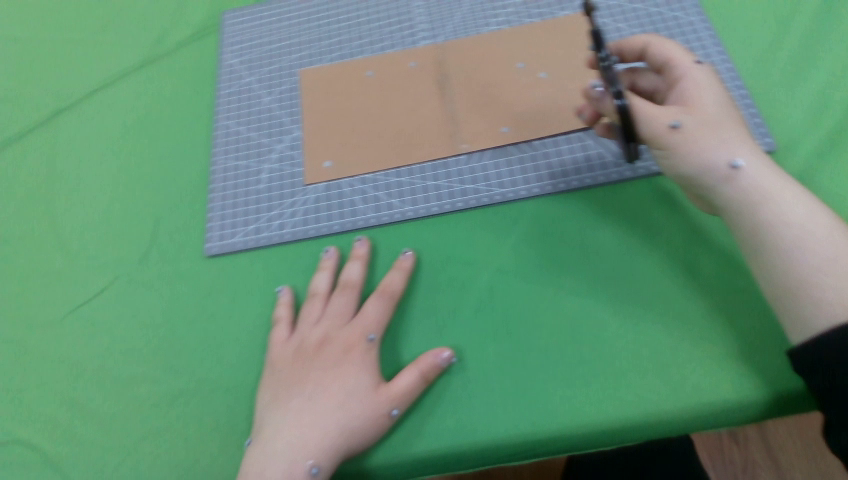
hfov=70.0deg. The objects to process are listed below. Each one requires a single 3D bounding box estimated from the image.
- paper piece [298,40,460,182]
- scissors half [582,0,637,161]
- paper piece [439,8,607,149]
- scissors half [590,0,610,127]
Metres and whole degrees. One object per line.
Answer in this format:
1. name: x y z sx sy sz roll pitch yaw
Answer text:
1. paper piece: -0.044 -0.118 0.531 0.138 0.009 0.134 -10 56 5
2. scissors half: 0.108 -0.134 0.378 0.013 0.040 0.175 -16 98 14
3. paper piece: 0.087 -0.143 0.520 0.135 0.004 0.134 -10 58 5
4. scissors half: 0.112 -0.141 0.396 0.013 0.176 0.040 -14 24 19
